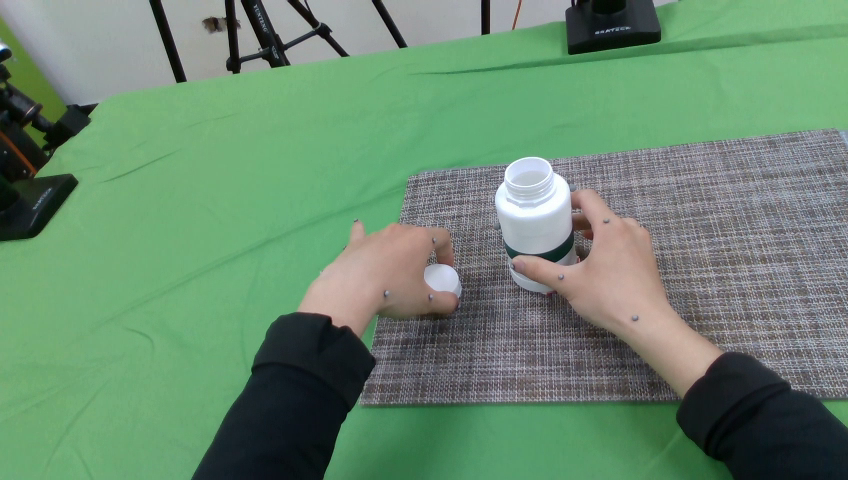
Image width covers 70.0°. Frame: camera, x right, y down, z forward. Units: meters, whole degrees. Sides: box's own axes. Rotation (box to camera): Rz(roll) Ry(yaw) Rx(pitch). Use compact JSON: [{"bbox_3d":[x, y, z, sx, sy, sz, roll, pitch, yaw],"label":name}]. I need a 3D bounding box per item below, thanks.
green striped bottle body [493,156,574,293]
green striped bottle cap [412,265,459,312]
[{"bbox_3d":[0.096,-0.015,0.527,0.063,0.120,0.062,-9,43,9],"label":"green striped bottle body"},{"bbox_3d":[0.011,0.045,0.573,0.044,0.020,0.044,0,47,1],"label":"green striped bottle cap"}]
